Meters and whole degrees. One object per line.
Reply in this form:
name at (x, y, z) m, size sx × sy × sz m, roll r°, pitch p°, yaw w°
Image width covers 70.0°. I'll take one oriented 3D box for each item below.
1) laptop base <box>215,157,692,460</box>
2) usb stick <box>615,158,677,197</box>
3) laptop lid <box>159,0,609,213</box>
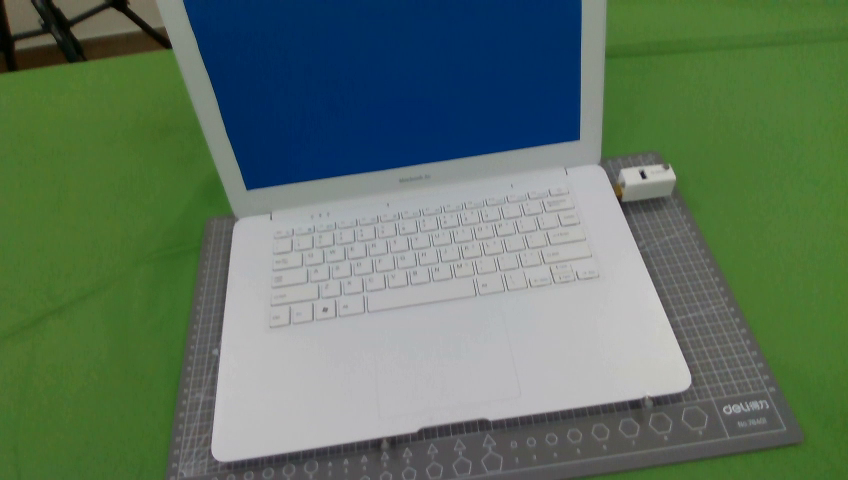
laptop base at (0.010, 0.044, 0.508) m, size 0.354 × 0.023 × 0.233 m, roll -9°, pitch 55°, yaw 0°
usb stick at (0.194, -0.056, 0.545) m, size 0.059 × 0.027 × 0.021 m, roll -8°, pitch 53°, yaw 3°
laptop lid at (-0.019, -0.144, 0.511) m, size 0.357 × 0.244 × 0.013 m, roll -10°, pitch 35°, yaw 1°
